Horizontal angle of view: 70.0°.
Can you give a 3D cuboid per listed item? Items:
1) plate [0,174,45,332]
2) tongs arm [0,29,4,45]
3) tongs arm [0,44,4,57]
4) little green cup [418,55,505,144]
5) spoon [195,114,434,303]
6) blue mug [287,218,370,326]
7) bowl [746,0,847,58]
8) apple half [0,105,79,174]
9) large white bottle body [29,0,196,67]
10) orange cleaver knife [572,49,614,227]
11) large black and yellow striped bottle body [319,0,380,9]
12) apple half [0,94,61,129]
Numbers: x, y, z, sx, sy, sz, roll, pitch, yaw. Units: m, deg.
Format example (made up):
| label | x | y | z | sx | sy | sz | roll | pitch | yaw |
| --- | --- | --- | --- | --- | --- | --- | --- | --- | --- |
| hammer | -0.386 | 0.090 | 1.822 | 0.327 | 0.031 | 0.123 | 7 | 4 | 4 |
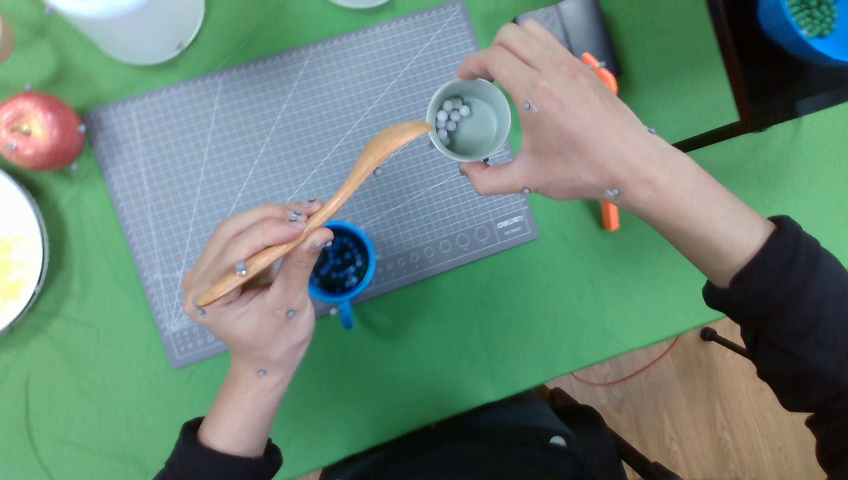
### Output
| label | x | y | z | sx | sy | sz | roll | pitch | yaw |
| --- | --- | --- | --- | --- | --- | --- | --- | --- | --- |
| plate | -0.507 | 0.013 | 0.638 | 0.209 | 0.038 | 0.209 | 0 | 90 | -7 |
| tongs arm | -0.602 | -0.287 | 0.595 | 0.388 | 0.028 | 0.028 | 23 | 81 | -5 |
| tongs arm | -0.622 | -0.206 | 0.591 | 0.385 | 0.026 | 0.050 | 9 | 85 | -5 |
| little green cup | 0.030 | -0.099 | 0.440 | 0.061 | 0.039 | 0.061 | 0 | 90 | 18 |
| spoon | -0.061 | -0.026 | 0.374 | 0.193 | 0.041 | 0.022 | -48 | 122 | -26 |
| blue mug | -0.097 | 0.036 | 0.656 | 0.082 | 0.105 | 0.116 | -12 | 91 | -7 |
| bowl | 0.351 | -0.231 | 0.550 | 0.152 | 0.076 | 0.151 | 0 | 90 | -7 |
| apple half | -0.400 | -0.098 | 0.635 | 0.081 | 0.074 | 0.053 | -35 | 98 | -9 |
| large white bottle body | -0.311 | -0.258 | 0.590 | 0.131 | 0.184 | 0.130 | 0 | 89 | -7 |
| orange cleaver knife | 0.196 | -0.114 | 0.705 | 0.012 | 0.076 | 0.213 | -21 | 123 | -7 |
| large black and yellow striped bottle body | -0.080 | -0.333 | 0.620 | 0.131 | 0.183 | 0.130 | 0 | 89 | -7 |
| apple half | -0.422 | -0.130 | 0.631 | 0.081 | 0.081 | 0.033 | -34 | 99 | -6 |
